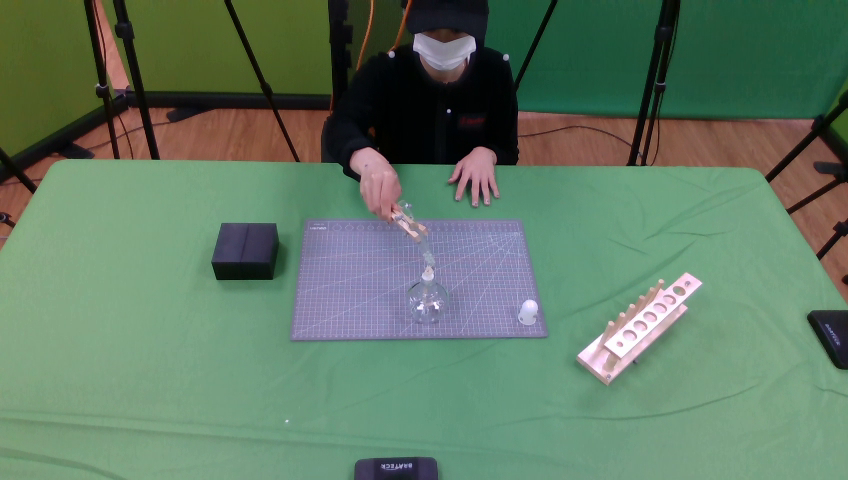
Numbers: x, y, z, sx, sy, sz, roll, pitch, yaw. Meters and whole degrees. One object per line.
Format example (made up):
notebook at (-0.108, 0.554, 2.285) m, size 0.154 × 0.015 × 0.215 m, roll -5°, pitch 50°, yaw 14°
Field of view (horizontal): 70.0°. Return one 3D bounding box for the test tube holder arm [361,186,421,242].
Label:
test tube holder arm at (-0.056, -0.045, 0.972) m, size 0.013 × 0.015 × 0.177 m, roll -36°, pitch 44°, yaw -14°

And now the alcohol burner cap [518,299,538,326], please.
alcohol burner cap at (0.186, 0.126, 1.072) m, size 0.034 × 0.048 × 0.033 m, roll 1°, pitch 45°, yaw -1°

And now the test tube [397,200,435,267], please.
test tube at (-0.010, -0.007, 0.936) m, size 0.017 × 0.151 × 0.017 m, roll -12°, pitch 47°, yaw 13°

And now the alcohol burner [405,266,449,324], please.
alcohol burner at (0.005, 0.089, 1.043) m, size 0.078 × 0.120 × 0.077 m, roll 1°, pitch 44°, yaw -1°

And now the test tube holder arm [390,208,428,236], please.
test tube holder arm at (-0.026, -0.029, 0.943) m, size 0.010 × 0.015 × 0.087 m, roll -43°, pitch 46°, yaw -19°

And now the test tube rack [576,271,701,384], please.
test tube rack at (0.373, 0.138, 1.047) m, size 0.242 × 0.085 × 0.066 m, roll -31°, pitch 56°, yaw -29°
